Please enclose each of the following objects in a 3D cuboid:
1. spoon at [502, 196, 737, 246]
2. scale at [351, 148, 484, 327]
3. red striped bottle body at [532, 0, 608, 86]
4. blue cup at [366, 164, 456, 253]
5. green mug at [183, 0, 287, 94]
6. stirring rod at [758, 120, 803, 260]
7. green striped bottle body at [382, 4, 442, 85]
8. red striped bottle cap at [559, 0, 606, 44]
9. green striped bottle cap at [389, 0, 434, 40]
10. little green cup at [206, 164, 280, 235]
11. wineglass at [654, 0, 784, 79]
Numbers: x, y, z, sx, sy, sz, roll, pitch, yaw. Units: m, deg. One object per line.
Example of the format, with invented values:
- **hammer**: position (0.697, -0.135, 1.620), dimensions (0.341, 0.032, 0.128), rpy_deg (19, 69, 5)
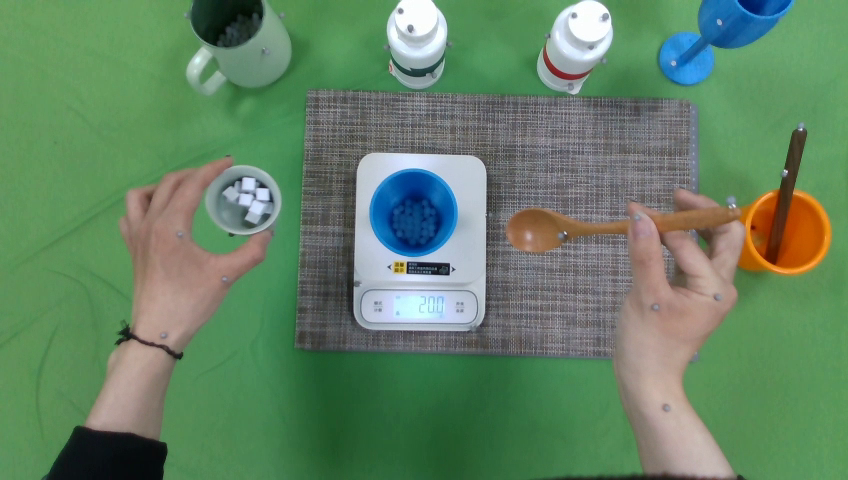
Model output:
- **spoon**: position (0.133, -0.015, 0.451), dimensions (0.021, 0.192, 0.042), rpy_deg (-31, 107, -33)
- **scale**: position (-0.007, -0.003, 0.681), dimensions (0.149, 0.031, 0.200), rpy_deg (0, 86, 0)
- **red striped bottle body**: position (0.158, -0.216, 0.657), dimensions (0.063, 0.120, 0.063), rpy_deg (0, 85, -1)
- **blue cup**: position (-0.012, -0.027, 0.617), dimensions (0.092, 0.100, 0.092), rpy_deg (0, 88, 0)
- **green mug**: position (-0.214, -0.213, 0.661), dimensions (0.092, 0.105, 0.125), rpy_deg (36, 86, 2)
- **stirring rod**: position (0.374, -0.047, 0.638), dimensions (0.014, 0.005, 0.178), rpy_deg (-12, 128, 0)
- **green striped bottle body**: position (-0.013, -0.217, 0.656), dimensions (0.063, 0.119, 0.063), rpy_deg (0, 85, 0)
- **red striped bottle cap**: position (0.158, -0.220, 0.604), dimensions (0.044, 0.018, 0.044), rpy_deg (0, 83, 0)
- **green striped bottle cap**: position (-0.012, -0.223, 0.600), dimensions (0.044, 0.020, 0.044), rpy_deg (0, 85, 1)
- **little green cup**: position (-0.157, -0.033, 0.535), dimensions (0.062, 0.038, 0.061), rpy_deg (2, 82, -11)
- **wineglass**: position (0.303, -0.229, 0.632), dimensions (0.074, 0.172, 0.073), rpy_deg (0, 85, 1)
